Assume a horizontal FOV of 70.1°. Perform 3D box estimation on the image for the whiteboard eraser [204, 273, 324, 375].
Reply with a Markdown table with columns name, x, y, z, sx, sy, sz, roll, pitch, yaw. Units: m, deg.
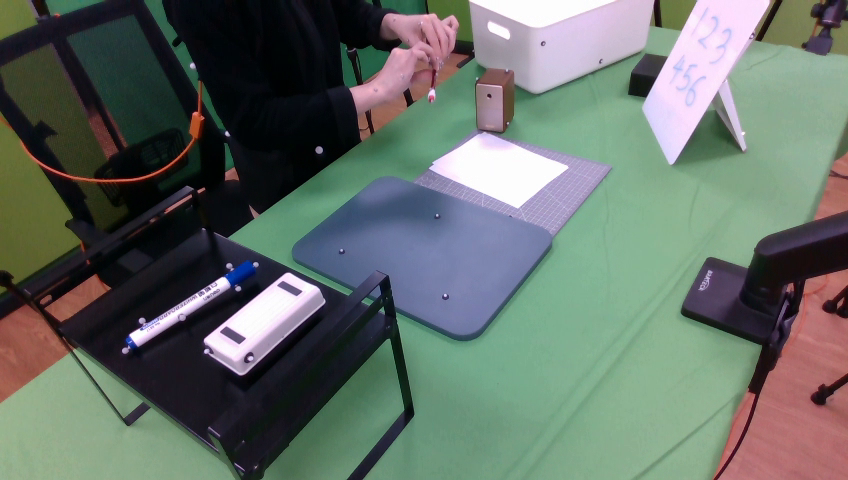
| name | x | y | z | sx | sy | sz | roll | pitch | yaw |
| --- | --- | --- | --- | --- | --- | --- | --- | --- | --- |
| whiteboard eraser | -0.157 | 0.084 | 0.605 | 0.055 | 0.042 | 0.113 | 24 | 49 | 30 |

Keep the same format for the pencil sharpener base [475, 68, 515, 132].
| name | x | y | z | sx | sy | sz | roll | pitch | yaw |
| --- | --- | --- | --- | --- | --- | --- | --- | --- | --- |
| pencil sharpener base | 0.146 | -0.284 | 1.222 | 0.061 | 0.107 | 0.077 | 11 | 44 | 22 |

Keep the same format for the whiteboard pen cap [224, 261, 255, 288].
| name | x | y | z | sx | sy | sz | roll | pitch | yaw |
| --- | --- | --- | --- | --- | --- | --- | --- | --- | --- |
| whiteboard pen cap | -0.207 | 0.039 | 0.677 | 0.033 | 0.018 | 0.018 | -36 | 47 | -18 |

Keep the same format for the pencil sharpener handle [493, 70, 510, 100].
| name | x | y | z | sx | sy | sz | roll | pitch | yaw |
| --- | --- | --- | --- | --- | --- | --- | --- | --- | --- |
| pencil sharpener handle | 0.166 | -0.325 | 1.248 | 0.036 | 0.068 | 0.030 | 10 | 43 | 22 |

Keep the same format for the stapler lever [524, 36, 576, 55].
| name | x | y | z | sx | sy | sz | roll | pitch | yaw |
| --- | --- | --- | --- | --- | --- | --- | --- | --- | --- |
| stapler lever | 0.296 | -0.456 | 1.418 | 0.117 | 0.040 | 0.027 | 4 | 40 | 17 |

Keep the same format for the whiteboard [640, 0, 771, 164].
| name | x | y | z | sx | sy | sz | roll | pitch | yaw |
| --- | --- | --- | --- | --- | --- | --- | --- | --- | --- |
| whiteboard | 0.543 | -0.299 | 1.076 | 0.144 | 0.305 | 0.216 | 12 | 40 | -7 |

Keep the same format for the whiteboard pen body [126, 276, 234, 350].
| name | x | y | z | sx | sy | sz | roll | pitch | yaw |
| --- | --- | --- | --- | --- | --- | --- | --- | --- | --- |
| whiteboard pen body | -0.251 | 0.070 | 0.649 | 0.141 | 0.017 | 0.017 | -36 | 48 | -26 |

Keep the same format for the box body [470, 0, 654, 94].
| name | x | y | z | sx | sy | sz | roll | pitch | yaw |
| --- | --- | --- | --- | --- | --- | --- | --- | --- | --- |
| box body | 0.319 | -0.498 | 1.405 | 0.365 | 0.161 | 0.252 | -26 | 43 | -21 |

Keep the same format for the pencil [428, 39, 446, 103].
| name | x | y | z | sx | sy | sz | roll | pitch | yaw |
| --- | --- | --- | --- | --- | --- | --- | --- | --- | --- |
| pencil | 0.025 | -0.300 | 1.058 | 0.012 | 0.012 | 0.193 | 2 | 49 | 10 |

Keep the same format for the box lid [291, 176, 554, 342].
| name | x | y | z | sx | sy | sz | roll | pitch | yaw |
| --- | --- | --- | --- | --- | --- | --- | --- | --- | --- |
| box lid | -0.005 | 0.011 | 0.971 | 0.368 | 0.015 | 0.264 | 21 | 49 | 30 |

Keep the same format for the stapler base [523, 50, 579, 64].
| name | x | y | z | sx | sy | sz | roll | pitch | yaw |
| --- | --- | --- | --- | --- | --- | --- | --- | --- | --- |
| stapler base | 0.301 | -0.436 | 1.434 | 0.130 | 0.024 | 0.041 | 5 | 40 | 17 |
